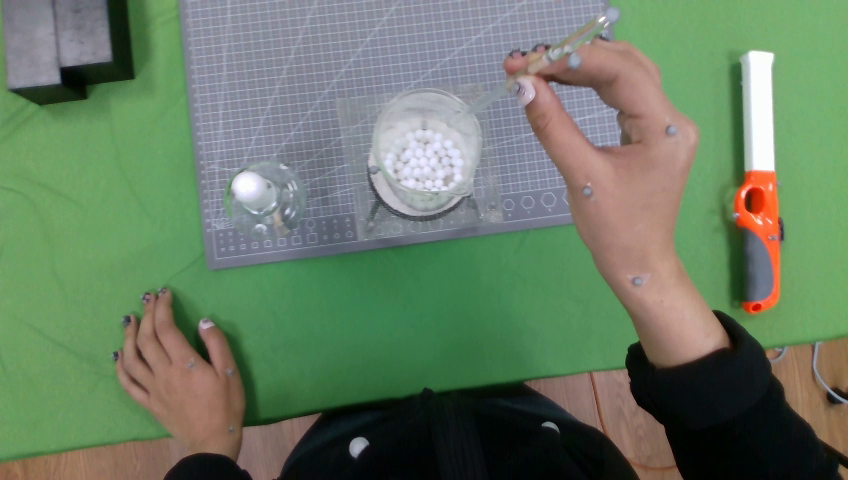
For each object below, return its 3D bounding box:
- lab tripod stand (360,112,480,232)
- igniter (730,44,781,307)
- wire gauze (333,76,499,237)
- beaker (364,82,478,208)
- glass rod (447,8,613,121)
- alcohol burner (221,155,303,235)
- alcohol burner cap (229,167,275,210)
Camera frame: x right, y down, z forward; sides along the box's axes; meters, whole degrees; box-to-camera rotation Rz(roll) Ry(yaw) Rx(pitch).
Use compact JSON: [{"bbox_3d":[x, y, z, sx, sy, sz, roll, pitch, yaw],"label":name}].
[{"bbox_3d":[-0.009,-0.062,0.567,0.148,0.131,0.148,0,86,-1],"label":"lab tripod stand"},{"bbox_3d":[0.349,-0.068,0.639,0.057,0.025,0.276,1,87,-13],"label":"igniter"},{"bbox_3d":[-0.006,-0.070,0.501,0.125,0.011,0.121,-8,86,-1],"label":"wire gauze"},{"bbox_3d":[0.000,-0.063,0.453,0.074,0.100,0.084,-40,88,-4],"label":"beaker"},{"bbox_3d":[0.046,-0.088,0.333,0.008,0.199,0.008,0,89,-16],"label":"glass rod"},{"bbox_3d":[-0.155,-0.045,0.569,0.078,0.119,0.077,0,84,-3],"label":"alcohol burner"},{"bbox_3d":[-0.153,-0.047,0.533,0.034,0.048,0.034,0,83,0],"label":"alcohol burner cap"}]
